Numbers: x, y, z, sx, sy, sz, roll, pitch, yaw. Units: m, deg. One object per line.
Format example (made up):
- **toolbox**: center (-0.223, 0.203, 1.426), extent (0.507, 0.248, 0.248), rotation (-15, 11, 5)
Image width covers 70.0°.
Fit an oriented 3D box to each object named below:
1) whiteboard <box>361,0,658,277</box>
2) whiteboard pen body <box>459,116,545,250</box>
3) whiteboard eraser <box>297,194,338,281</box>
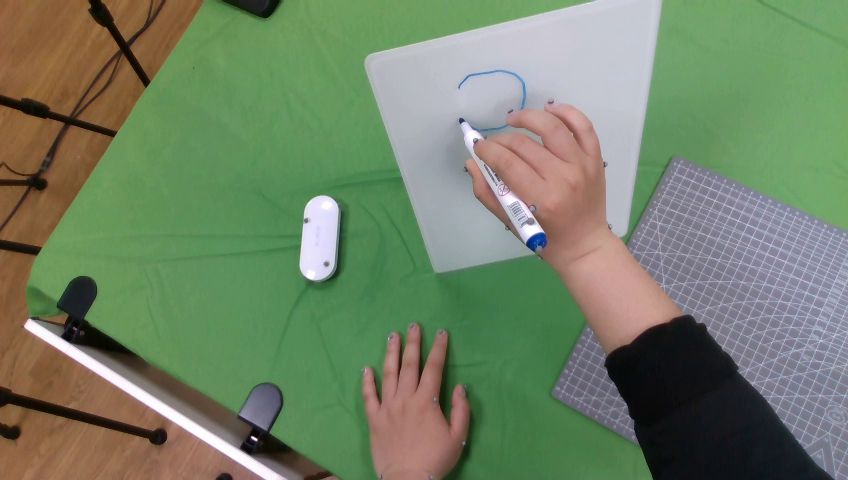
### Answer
- **whiteboard**: center (0.080, -0.122, 0.587), extent (0.217, 0.308, 0.142), rotation (-11, 54, 5)
- **whiteboard pen body**: center (0.054, -0.049, 0.454), extent (0.017, 0.017, 0.139), rotation (-26, 56, 1)
- **whiteboard eraser**: center (-0.122, -0.004, 0.698), extent (0.041, 0.019, 0.101), rotation (1, 77, 6)
